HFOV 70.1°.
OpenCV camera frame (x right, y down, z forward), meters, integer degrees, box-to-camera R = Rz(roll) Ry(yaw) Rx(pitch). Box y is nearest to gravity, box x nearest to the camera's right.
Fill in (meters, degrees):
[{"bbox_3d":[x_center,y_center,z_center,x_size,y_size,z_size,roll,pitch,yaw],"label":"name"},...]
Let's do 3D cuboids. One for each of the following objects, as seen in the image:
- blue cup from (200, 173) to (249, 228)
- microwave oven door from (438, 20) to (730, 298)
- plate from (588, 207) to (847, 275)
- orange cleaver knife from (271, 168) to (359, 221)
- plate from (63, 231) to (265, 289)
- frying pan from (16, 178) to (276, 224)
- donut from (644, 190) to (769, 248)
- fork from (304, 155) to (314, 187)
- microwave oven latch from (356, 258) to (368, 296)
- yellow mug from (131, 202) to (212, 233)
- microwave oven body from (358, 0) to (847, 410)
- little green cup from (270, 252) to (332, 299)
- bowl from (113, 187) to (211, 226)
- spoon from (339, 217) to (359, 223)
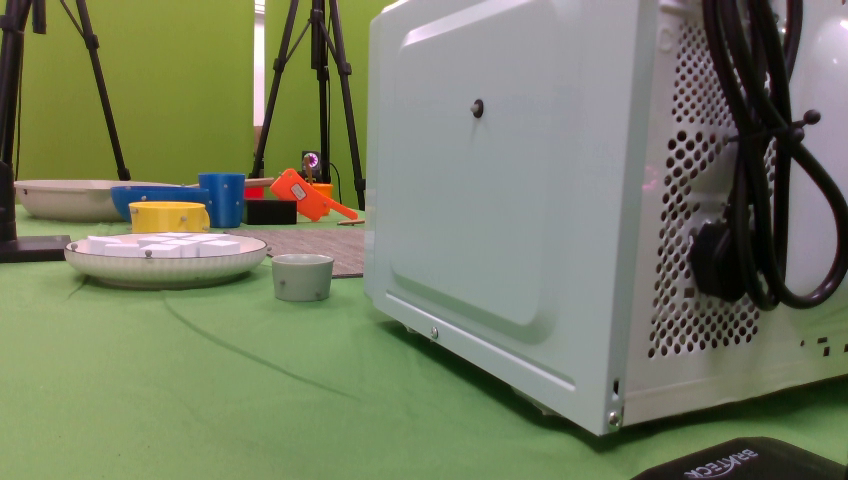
[{"bbox_3d":[-0.381,-0.076,1.155,0.093,0.100,0.092,0,8,0],"label":"blue cup"},{"bbox_3d":[0.181,-0.076,0.618,0.358,0.243,0.039,-2,8,-28],"label":"microwave oven door"},{"bbox_3d":[0.245,-0.001,0.511,0.209,0.038,0.209,2,7,0],"label":"plate"},{"bbox_3d":[-0.236,-0.084,1.333,0.212,0.077,0.012,31,-10,-32],"label":"orange cleaver knife"},{"bbox_3d":[-0.288,0.021,0.687,0.208,0.039,0.207,2,8,0],"label":"plate"},{"bbox_3d":[-0.553,-0.097,1.265,0.490,0.102,0.305,-10,13,-24],"label":"frying pan"},{"bbox_3d":[0.240,-0.017,0.517,0.099,0.048,0.099,2,3,0],"label":"donut"},{"bbox_3d":[-0.268,-0.134,1.446,0.028,0.018,0.207,1,-36,-1],"label":"fork"},{"bbox_3d":[-0.019,0.031,0.528,0.079,0.029,0.030,-1,7,-24],"label":"microwave oven latch"},{"bbox_3d":[-0.356,-0.020,0.878,0.099,0.064,0.131,5,8,21],"label":"yellow mug"},{"bbox_3d":[0.210,-0.051,0.471,0.444,0.260,0.324,-1,7,-28],"label":"microwave oven body"},{"bbox_3d":[-0.122,0.035,0.604,0.061,0.038,0.061,3,7,0],"label":"little green cup"},{"bbox_3d":[-0.436,-0.046,1.013,0.151,0.077,0.151,2,7,0],"label":"bowl"},{"bbox_3d":[-0.087,-0.041,1.268,0.193,0.021,0.041,4,22,13],"label":"spoon"}]
